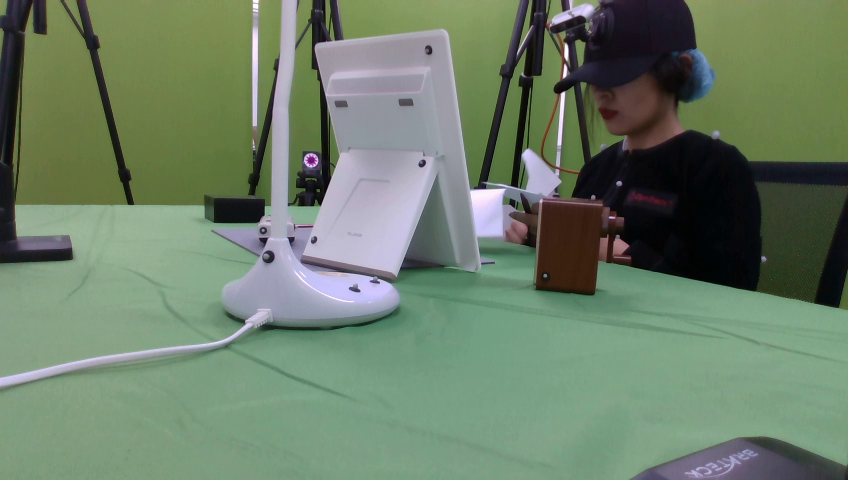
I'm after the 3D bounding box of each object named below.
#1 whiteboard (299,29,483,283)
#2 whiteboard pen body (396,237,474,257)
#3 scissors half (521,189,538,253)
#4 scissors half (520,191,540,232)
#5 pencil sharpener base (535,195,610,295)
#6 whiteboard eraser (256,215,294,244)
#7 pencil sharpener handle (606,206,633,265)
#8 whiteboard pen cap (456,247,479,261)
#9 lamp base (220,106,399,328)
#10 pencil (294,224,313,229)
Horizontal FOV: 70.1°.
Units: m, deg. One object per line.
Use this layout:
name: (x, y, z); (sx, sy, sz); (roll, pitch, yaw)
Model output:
whiteboard: (-0.074, -0.082, 0.742); (0.216, 0.305, 0.144); (9, 30, 38)
whiteboard pen body: (0.014, 0.012, 0.886); (0.140, 0.017, 0.017); (9, 10, 38)
scissors half: (0.187, -0.031, 1.076); (0.012, 0.176, 0.040); (26, 63, 34)
scissors half: (0.199, -0.048, 1.082); (0.013, 0.040, 0.176); (20, -10, 33)
pencil sharpener base: (0.172, 0.005, 0.696); (0.076, 0.107, 0.061); (5, 8, 16)
whiteboard eraser: (-0.232, -0.016, 0.951); (0.056, 0.042, 0.112); (2, 7, -12)
pencil sharpener handle: (0.223, -0.004, 0.683); (0.030, 0.068, 0.036); (5, 20, 17)
whiteboard pen cap: (0.060, 0.020, 0.851); (0.033, 0.018, 0.018); (10, 10, 37)
lamp base: (-0.101, -0.023, 0.531); (0.160, 0.180, 0.179); (4, 10, 10)
pencil: (-0.220, -0.028, 1.211); (0.195, 0.012, 0.012); (-5, 10, -34)
